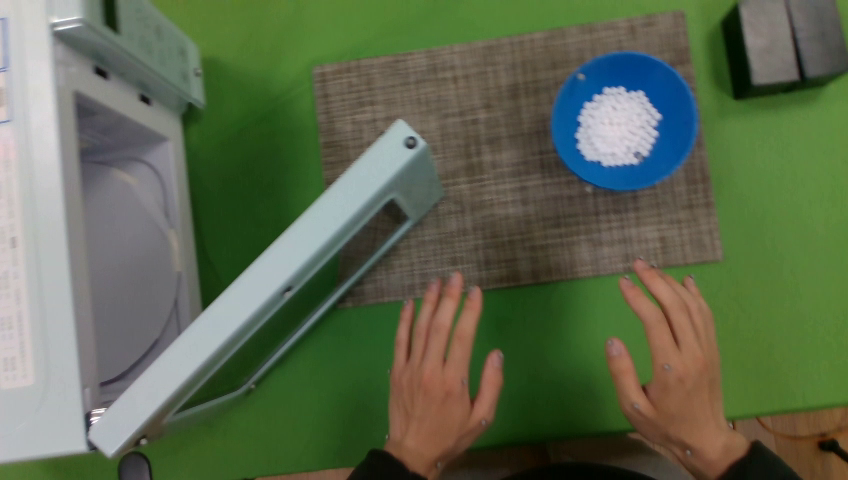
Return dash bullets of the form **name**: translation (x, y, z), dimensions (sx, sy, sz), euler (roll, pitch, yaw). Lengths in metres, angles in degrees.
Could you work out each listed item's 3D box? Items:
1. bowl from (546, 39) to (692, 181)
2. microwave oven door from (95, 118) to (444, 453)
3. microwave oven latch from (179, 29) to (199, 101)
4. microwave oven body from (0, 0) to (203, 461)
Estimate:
- **bowl**: translation (0.208, -0.134, 0.672), dimensions (0.151, 0.077, 0.151), euler (0, 87, 5)
- **microwave oven door**: translation (-0.123, 0.044, 0.594), dimensions (0.039, 0.244, 0.356), euler (44, 91, 7)
- **microwave oven latch**: translation (-0.292, -0.209, 0.725), dimensions (0.030, 0.029, 0.079), euler (-10, 86, 4)
- **microwave oven body**: translation (-0.418, -0.017, 0.627), dimensions (0.326, 0.260, 0.440), euler (-10, 86, 4)
